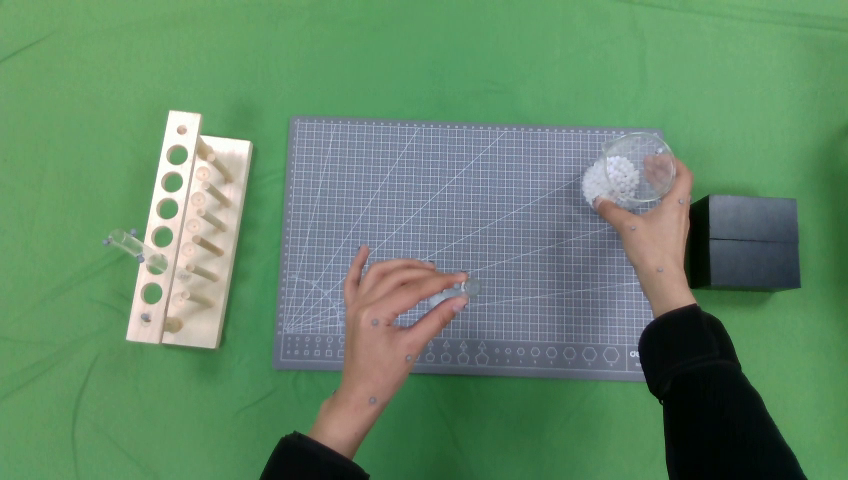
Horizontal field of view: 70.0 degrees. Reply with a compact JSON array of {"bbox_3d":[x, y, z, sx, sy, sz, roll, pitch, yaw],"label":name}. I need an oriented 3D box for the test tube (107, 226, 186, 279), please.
[{"bbox_3d":[-0.273,0.016,0.607,0.017,0.151,0.017,0,73,1],"label":"test tube"}]

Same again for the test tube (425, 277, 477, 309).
[{"bbox_3d":[0.022,0.051,0.562,0.017,0.150,0.017,2,79,-11],"label":"test tube"}]

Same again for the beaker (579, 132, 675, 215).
[{"bbox_3d":[0.215,-0.070,0.668,0.084,0.100,0.074,34,83,3],"label":"beaker"}]

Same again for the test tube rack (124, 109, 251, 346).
[{"bbox_3d":[-0.252,-0.010,0.661,0.067,0.085,0.241,7,80,0],"label":"test tube rack"}]
